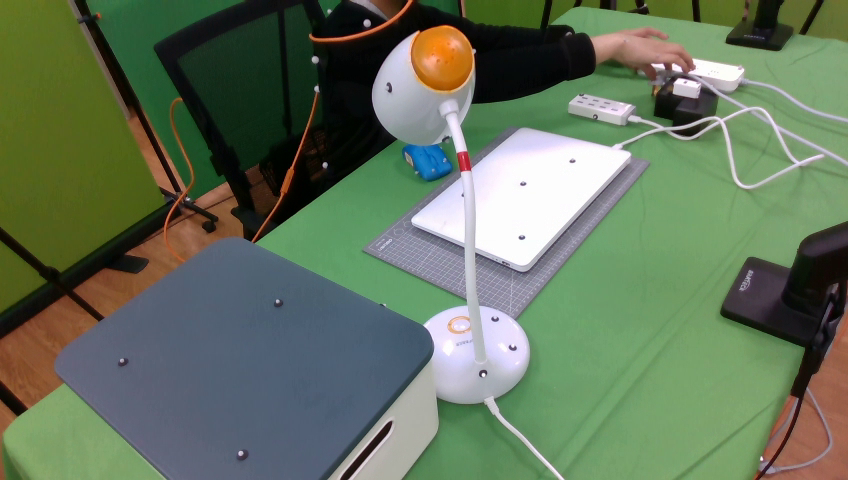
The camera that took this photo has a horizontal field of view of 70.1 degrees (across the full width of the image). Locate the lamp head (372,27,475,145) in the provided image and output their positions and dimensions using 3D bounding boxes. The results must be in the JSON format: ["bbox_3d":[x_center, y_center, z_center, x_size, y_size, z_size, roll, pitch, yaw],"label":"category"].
[{"bbox_3d":[0.007,-0.167,0.644,0.113,0.112,0.122,-22,2,-14],"label":"lamp head"}]

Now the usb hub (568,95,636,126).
[{"bbox_3d":[0.360,-0.264,1.228,0.124,0.025,0.049,24,49,34],"label":"usb hub"}]

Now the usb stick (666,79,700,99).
[{"bbox_3d":[0.492,-0.288,1.152,0.058,0.027,0.021,21,51,34],"label":"usb stick"}]

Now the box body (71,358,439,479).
[{"bbox_3d":[-0.189,0.178,0.702,0.361,0.161,0.255,22,49,32],"label":"box body"}]

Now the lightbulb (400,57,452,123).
[{"bbox_3d":[0.004,-0.169,0.668,0.059,0.108,0.059,1,79,-3],"label":"lightbulb"}]

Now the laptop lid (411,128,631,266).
[{"bbox_3d":[0.173,-0.093,1.049,0.239,0.013,0.358,24,50,36],"label":"laptop lid"}]

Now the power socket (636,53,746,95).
[{"bbox_3d":[0.564,-0.357,1.293,0.225,0.033,0.072,24,51,32],"label":"power socket"}]

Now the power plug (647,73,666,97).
[{"bbox_3d":[0.492,-0.320,1.260,0.035,0.052,0.073,24,16,40],"label":"power plug"}]

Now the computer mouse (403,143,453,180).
[{"bbox_3d":[0.006,-0.159,1.165,0.063,0.041,0.116,-21,45,-16],"label":"computer mouse"}]

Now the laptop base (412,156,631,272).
[{"bbox_3d":[0.176,-0.084,1.055,0.233,0.023,0.355,21,48,36],"label":"laptop base"}]

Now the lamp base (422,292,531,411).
[{"bbox_3d":[0.055,0.095,0.740,0.161,0.181,0.177,-19,43,-11],"label":"lamp base"}]

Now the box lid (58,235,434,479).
[{"bbox_3d":[-0.198,0.123,0.653,0.368,0.015,0.264,22,49,32],"label":"box lid"}]
